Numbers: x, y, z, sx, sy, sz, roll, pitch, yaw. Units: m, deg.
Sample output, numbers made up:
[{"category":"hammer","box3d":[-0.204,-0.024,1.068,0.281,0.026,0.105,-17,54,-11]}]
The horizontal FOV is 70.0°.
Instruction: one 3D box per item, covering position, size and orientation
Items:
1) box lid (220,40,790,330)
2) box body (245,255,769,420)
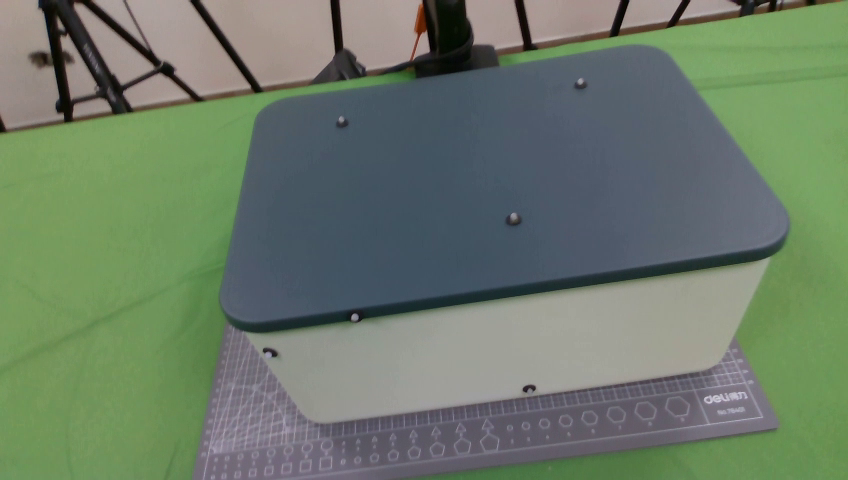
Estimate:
[{"category":"box lid","box3d":[0.039,-0.060,0.461,0.371,0.015,0.260,-8,45,2]},{"category":"box body","box3d":[0.052,-0.008,0.513,0.364,0.162,0.251,-9,45,2]}]
